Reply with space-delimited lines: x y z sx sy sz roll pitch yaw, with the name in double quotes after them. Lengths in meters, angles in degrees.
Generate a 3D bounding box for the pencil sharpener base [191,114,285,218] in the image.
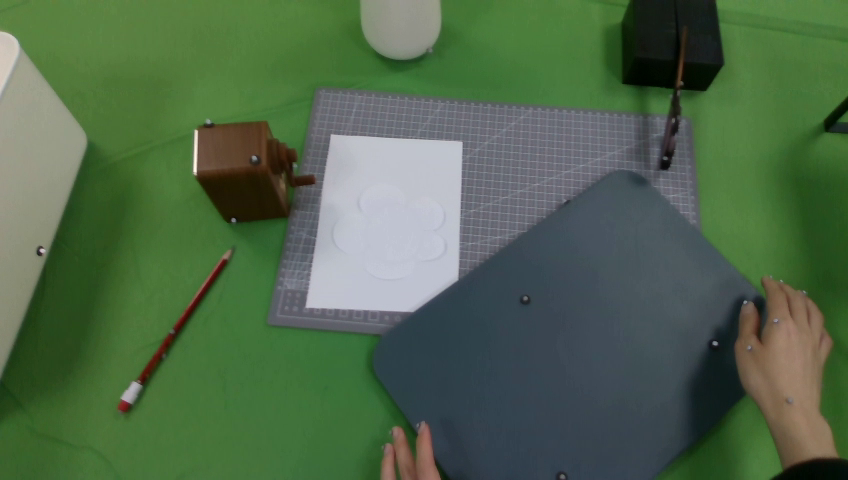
-0.186 -0.074 0.627 0.077 0.108 0.061 -7 66 -4 "pencil sharpener base"

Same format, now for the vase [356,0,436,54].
-0.035 -0.304 0.677 0.098 0.201 0.097 0 66 1 "vase"

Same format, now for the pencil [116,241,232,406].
-0.249 0.079 0.616 0.012 0.012 0.193 24 68 10 "pencil"

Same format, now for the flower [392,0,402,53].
-0.040 -0.350 0.606 0.044 0.365 0.038 -2 49 3 "flower"

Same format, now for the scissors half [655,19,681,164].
0.280 -0.170 0.691 0.012 0.040 0.175 9 85 18 "scissors half"

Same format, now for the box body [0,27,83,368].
-0.517 -0.015 0.568 0.254 0.161 0.361 5 67 2 "box body"

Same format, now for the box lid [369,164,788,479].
0.159 0.100 0.610 0.371 0.015 0.261 -35 73 -14 "box lid"

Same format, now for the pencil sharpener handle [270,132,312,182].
-0.135 -0.084 0.619 0.031 0.068 0.035 -7 61 -4 "pencil sharpener handle"

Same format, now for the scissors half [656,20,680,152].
0.275 -0.176 0.672 0.013 0.040 0.174 10 68 13 "scissors half"
